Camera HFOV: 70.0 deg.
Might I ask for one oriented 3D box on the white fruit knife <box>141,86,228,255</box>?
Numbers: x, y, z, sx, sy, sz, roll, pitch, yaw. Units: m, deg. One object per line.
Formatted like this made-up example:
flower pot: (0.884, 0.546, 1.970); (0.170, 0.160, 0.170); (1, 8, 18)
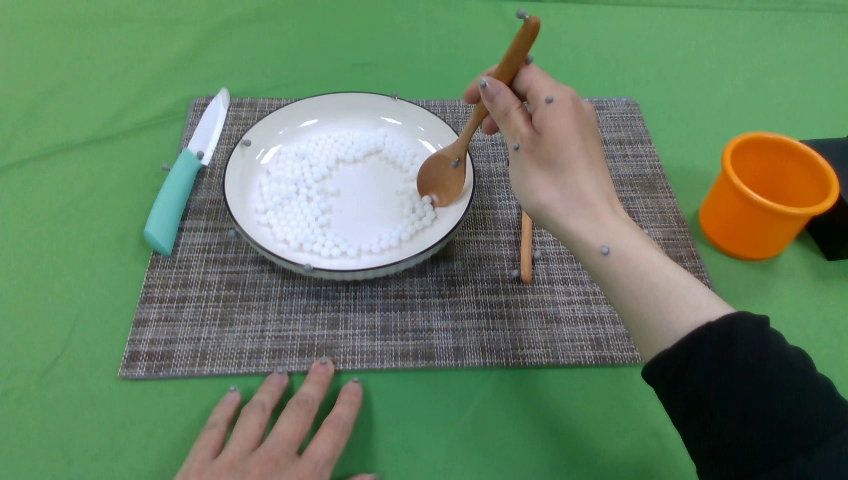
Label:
white fruit knife: (-0.208, -0.073, 0.540); (0.027, 0.016, 0.205); (24, 47, -21)

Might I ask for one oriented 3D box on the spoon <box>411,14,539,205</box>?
spoon: (0.034, -0.087, 0.448); (0.041, 0.194, 0.021); (41, 55, 4)

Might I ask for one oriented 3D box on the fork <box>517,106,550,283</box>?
fork: (0.096, -0.048, 0.538); (0.018, 0.028, 0.206); (-8, 49, 30)

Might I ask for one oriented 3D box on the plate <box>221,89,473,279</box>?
plate: (-0.062, -0.049, 0.517); (0.209, 0.038, 0.207); (2, 52, -2)
